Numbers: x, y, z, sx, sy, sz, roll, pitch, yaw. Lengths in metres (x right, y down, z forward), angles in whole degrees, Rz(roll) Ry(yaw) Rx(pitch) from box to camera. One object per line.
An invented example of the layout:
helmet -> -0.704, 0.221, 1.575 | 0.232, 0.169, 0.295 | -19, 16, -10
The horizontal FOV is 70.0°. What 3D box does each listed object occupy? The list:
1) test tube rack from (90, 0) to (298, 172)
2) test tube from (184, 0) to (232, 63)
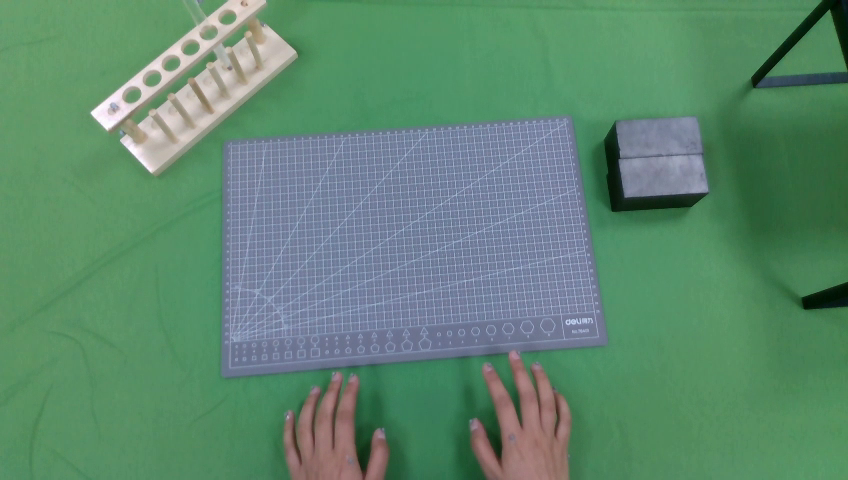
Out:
test tube rack -> -0.276, -0.201, 0.752 | 0.066, 0.085, 0.242 | 43, 79, 11
test tube -> -0.260, -0.260, 0.717 | 0.017, 0.151, 0.017 | -2, 70, 5
